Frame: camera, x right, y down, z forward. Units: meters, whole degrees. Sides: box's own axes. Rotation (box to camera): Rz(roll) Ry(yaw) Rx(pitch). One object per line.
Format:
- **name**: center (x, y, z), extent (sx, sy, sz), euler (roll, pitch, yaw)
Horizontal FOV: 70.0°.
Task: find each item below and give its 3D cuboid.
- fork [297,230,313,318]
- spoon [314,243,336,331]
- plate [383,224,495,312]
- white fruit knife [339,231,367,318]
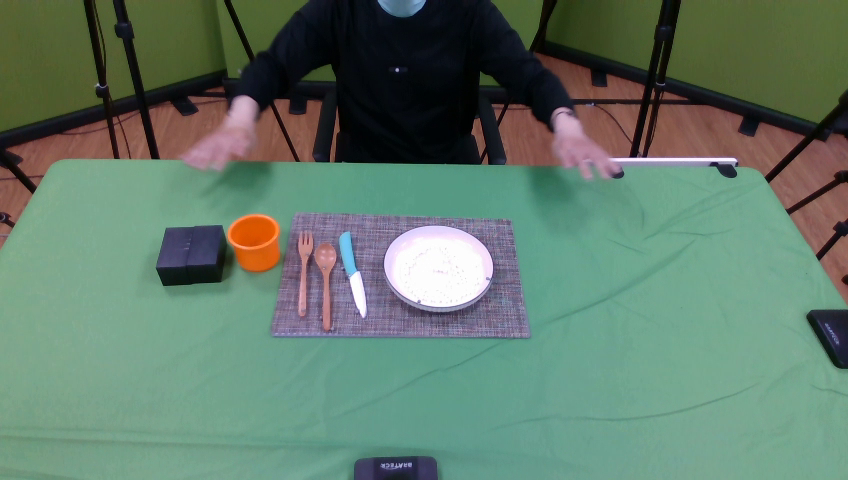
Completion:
- **fork**: center (-0.223, 0.058, 1.121), extent (0.028, 0.019, 0.206), euler (4, 44, -11)
- **spoon**: center (-0.179, 0.082, 1.098), extent (0.042, 0.022, 0.192), euler (9, 44, -18)
- **plate**: center (0.026, 0.055, 1.128), extent (0.209, 0.038, 0.208), euler (2, 46, -2)
- **white fruit knife**: center (-0.132, 0.062, 1.125), extent (0.027, 0.016, 0.206), euler (-18, 49, -3)
